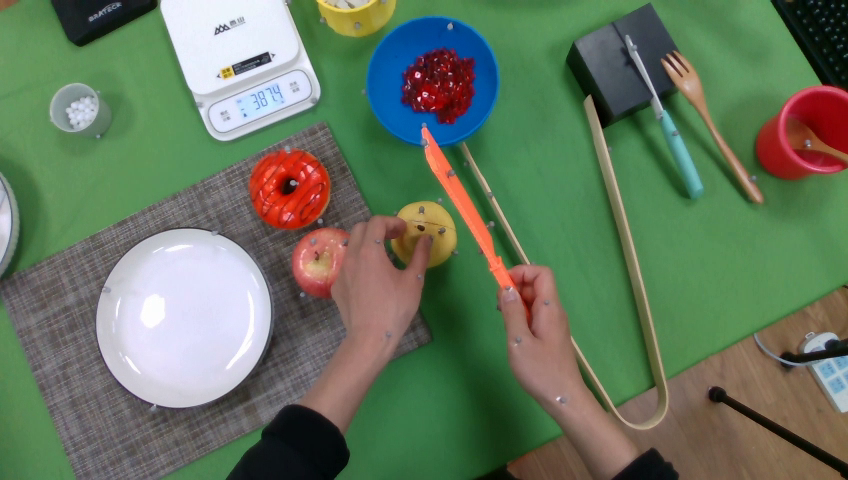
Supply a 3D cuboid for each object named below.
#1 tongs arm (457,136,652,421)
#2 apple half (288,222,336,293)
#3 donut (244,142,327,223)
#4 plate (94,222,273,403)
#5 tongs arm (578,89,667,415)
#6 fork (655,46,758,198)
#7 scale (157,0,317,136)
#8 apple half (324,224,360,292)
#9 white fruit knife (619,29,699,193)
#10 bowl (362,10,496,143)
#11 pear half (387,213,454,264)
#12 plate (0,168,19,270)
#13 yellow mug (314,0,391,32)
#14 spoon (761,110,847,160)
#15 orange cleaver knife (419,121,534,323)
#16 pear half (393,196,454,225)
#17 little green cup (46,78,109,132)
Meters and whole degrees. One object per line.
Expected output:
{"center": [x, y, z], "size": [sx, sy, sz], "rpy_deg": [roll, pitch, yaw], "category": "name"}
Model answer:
{"center": [0.149, 0.039, 0.705], "size": [0.051, 0.026, 0.383], "rpy_deg": [-26, 85, -6], "category": "tongs arm"}
{"center": [-0.126, 0.019, 0.695], "size": [0.053, 0.075, 0.080], "rpy_deg": [7, 87, 7], "category": "apple half"}
{"center": [-0.164, -0.068, 0.719], "size": [0.099, 0.048, 0.099], "rpy_deg": [0, 85, 4], "category": "donut"}
{"center": [-0.277, 0.083, 0.712], "size": [0.209, 0.038, 0.208], "rpy_deg": [0, 84, 2], "category": "plate"}
{"center": [0.229, 0.008, 0.711], "size": [0.028, 0.028, 0.386], "rpy_deg": [-11, 84, -8], "category": "tongs arm"}
{"center": [0.330, -0.134, 0.700], "size": [0.028, 0.018, 0.208], "rpy_deg": [-36, 99, -3], "category": "fork"}
{"center": [-0.231, -0.242, 0.749], "size": [0.148, 0.031, 0.200], "rpy_deg": [-22, 84, 0], "category": "scale"}
{"center": [-0.088, 0.022, 0.691], "size": [0.033, 0.081, 0.081], "rpy_deg": [6, 84, 6], "category": "apple half"}
{"center": [0.268, -0.146, 0.696], "size": [0.016, 0.027, 0.208], "rpy_deg": [-29, 98, -1], "category": "white fruit knife"}
{"center": [0.007, -0.180, 0.711], "size": [0.151, 0.077, 0.151], "rpy_deg": [0, 85, 2], "category": "bowl"}
{"center": [-0.006, -0.002, 0.678], "size": [0.076, 0.110, 0.056], "rpy_deg": [6, 84, 7], "category": "pear half"}
{"center": [-0.592, -0.019, 0.739], "size": [0.207, 0.039, 0.207], "rpy_deg": [0, 84, 2], "category": "plate"}
{"center": [-0.105, -0.322, 0.735], "size": [0.130, 0.064, 0.100], "rpy_deg": [30, 87, 6], "category": "yellow mug"}
{"center": [0.444, -0.093, 0.651], "size": [0.041, 0.022, 0.191], "rpy_deg": [-32, 40, -1], "category": "spoon"}
{"center": [0.050, -0.015, 0.567], "size": [0.012, 0.076, 0.213], "rpy_deg": [-27, 111, 15], "category": "orange cleaver knife"}
{"center": [0.000, -0.035, 0.691], "size": [0.070, 0.088, 0.031], "rpy_deg": [4, 84, 5], "category": "pear half"}
{"center": [-0.424, -0.163, 0.746], "size": [0.061, 0.039, 0.061], "rpy_deg": [0, 84, 3], "category": "little green cup"}
